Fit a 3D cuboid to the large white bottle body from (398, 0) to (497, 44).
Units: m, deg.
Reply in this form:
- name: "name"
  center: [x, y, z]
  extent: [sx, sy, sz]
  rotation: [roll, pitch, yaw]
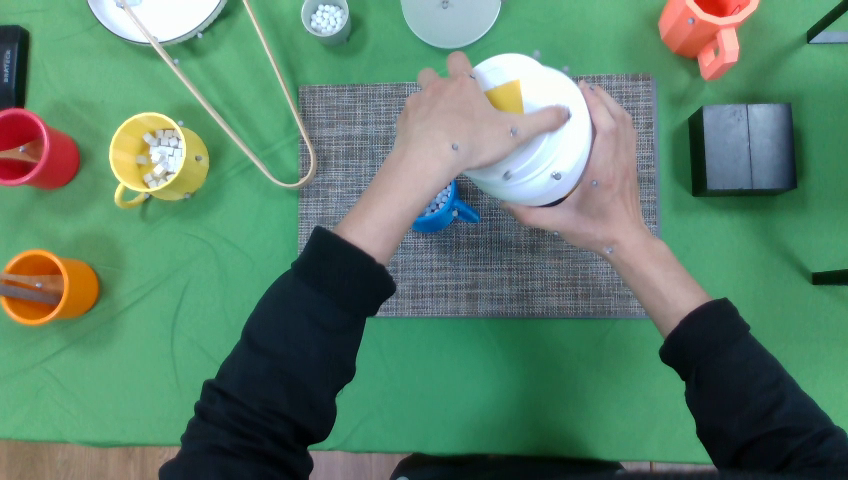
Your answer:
- name: "large white bottle body"
  center: [0.023, -0.324, 0.699]
  extent: [0.130, 0.185, 0.130]
  rotation: [0, 85, 5]

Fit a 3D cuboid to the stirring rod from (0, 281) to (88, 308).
- name: "stirring rod"
  center: [-0.503, 0.058, 0.733]
  extent: [0.006, 0.178, 0.014]
  rotation: [-15, 64, 47]

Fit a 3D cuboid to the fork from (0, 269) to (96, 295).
- name: "fork"
  center: [-0.512, 0.040, 0.732]
  extent: [0.209, 0.018, 0.028]
  rotation: [16, 84, -38]

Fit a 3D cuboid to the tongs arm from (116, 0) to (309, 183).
- name: "tongs arm"
  center: [-0.288, -0.217, 0.771]
  extent: [0.051, 0.026, 0.385]
  rotation: [-39, 91, -3]

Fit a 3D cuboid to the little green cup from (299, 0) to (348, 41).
- name: "little green cup"
  center: [-0.127, -0.289, 0.782]
  extent: [0.061, 0.039, 0.061]
  rotation: [0, 86, 5]

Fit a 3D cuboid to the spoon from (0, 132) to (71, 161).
- name: "spoon"
  center: [-0.545, -0.104, 0.750]
  extent: [0.194, 0.021, 0.041]
  rotation: [-20, 80, -41]

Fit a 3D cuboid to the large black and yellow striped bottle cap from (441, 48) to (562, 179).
- name: "large black and yellow striped bottle cap"
  center: [0.065, -0.112, 0.534]
  extent: [0.114, 0.019, 0.114]
  rotation: [-7, 78, 35]

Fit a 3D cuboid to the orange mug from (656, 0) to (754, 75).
- name: "orange mug"
  center: [0.334, -0.264, 0.712]
  extent: [0.083, 0.101, 0.125]
  rotation: [-10, 80, 4]

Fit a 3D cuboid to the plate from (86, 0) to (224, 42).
- name: "plate"
  center: [-0.351, -0.361, 0.807]
  extent: [0.207, 0.039, 0.207]
  rotation: [0, 86, 5]

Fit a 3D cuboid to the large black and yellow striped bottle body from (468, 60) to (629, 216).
- name: "large black and yellow striped bottle body"
  center: [0.115, -0.100, 0.605]
  extent: [0.130, 0.185, 0.130]
  rotation: [-5, 81, 34]

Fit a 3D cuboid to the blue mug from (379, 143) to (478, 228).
- name: "blue mug"
  center: [0.011, -0.054, 0.715]
  extent: [0.116, 0.106, 0.082]
  rotation: [25, 88, 7]

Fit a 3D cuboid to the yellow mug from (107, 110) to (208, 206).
- name: "yellow mug"
  center: [-0.347, -0.096, 0.772]
  extent: [0.099, 0.064, 0.131]
  rotation: [38, 90, 7]

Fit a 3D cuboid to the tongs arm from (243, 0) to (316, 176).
- name: "tongs arm"
  center: [-0.218, -0.263, 0.772]
  extent: [0.028, 0.028, 0.387]
  rotation: [-25, 91, -6]
